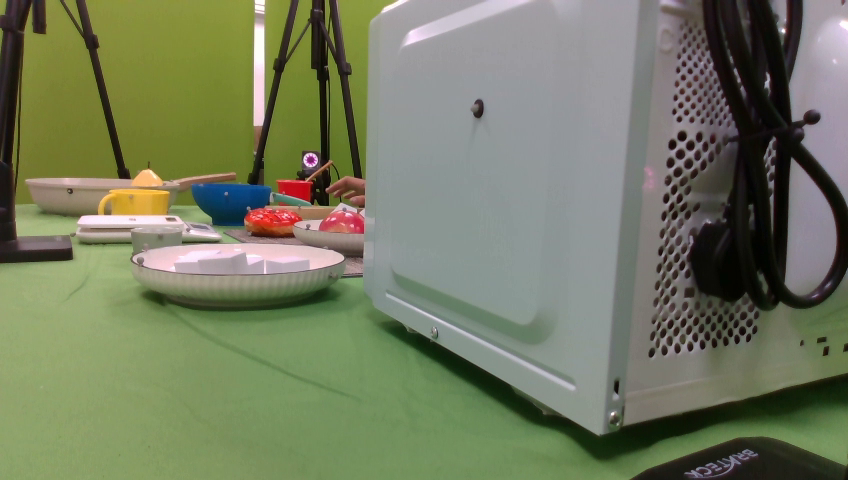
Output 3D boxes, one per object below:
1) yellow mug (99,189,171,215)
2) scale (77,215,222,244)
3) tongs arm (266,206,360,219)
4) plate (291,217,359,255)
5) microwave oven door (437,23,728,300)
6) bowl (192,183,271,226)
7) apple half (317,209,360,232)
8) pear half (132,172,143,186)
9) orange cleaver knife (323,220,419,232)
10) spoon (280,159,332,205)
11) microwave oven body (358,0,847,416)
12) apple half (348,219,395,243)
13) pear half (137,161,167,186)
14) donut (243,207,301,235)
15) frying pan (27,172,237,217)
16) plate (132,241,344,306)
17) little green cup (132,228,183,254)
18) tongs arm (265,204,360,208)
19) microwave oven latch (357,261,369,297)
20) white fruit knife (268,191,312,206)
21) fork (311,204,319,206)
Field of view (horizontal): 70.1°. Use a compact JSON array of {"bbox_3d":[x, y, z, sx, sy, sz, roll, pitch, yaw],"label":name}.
[{"bbox_3d":[-0.518,-0.055,1.080,0.099,0.064,0.131,7,9,26],"label":"yellow mug"},{"bbox_3d":[-0.434,-0.019,0.963,0.202,0.031,0.148,-1,9,-27],"label":"scale"},{"bbox_3d":[-0.174,-0.061,1.363,0.387,0.026,0.050,-1,3,-31],"label":"tongs arm"},{"bbox_3d":[-0.098,-0.007,0.928,0.209,0.038,0.209,2,8,0],"label":"plate"},{"bbox_3d":[0.180,-0.072,0.621,0.358,0.243,0.039,-2,9,-29],"label":"microwave oven door"},{"bbox_3d":[-0.382,-0.071,1.202,0.151,0.077,0.151,3,7,0],"label":"bowl"},{"bbox_3d":[-0.122,-0.020,0.900,0.080,0.053,0.075,3,10,14],"label":"apple half"},{"bbox_3d":[-0.638,-0.113,1.361,0.031,0.088,0.070,5,10,4],"label":"pear half"},{"bbox_3d":[-0.097,-0.027,1.152,0.077,0.012,0.212,2,7,41],"label":"orange cleaver knife"},{"bbox_3d":[-0.316,-0.159,1.640,0.194,0.022,0.041,-50,32,-20],"label":"spoon"},{"bbox_3d":[0.211,-0.047,0.475,0.444,0.260,0.324,-1,7,-28],"label":"microwave oven body"},{"bbox_3d":[-0.083,-0.018,0.967,0.081,0.033,0.081,5,11,-1],"label":"apple half"},{"bbox_3d":[-0.602,-0.120,1.354,0.056,0.110,0.076,4,11,6],"label":"pear half"},{"bbox_3d":[-0.261,-0.032,1.043,0.099,0.048,0.099,4,9,0],"label":"donut"},{"bbox_3d":[-0.624,-0.118,1.387,0.305,0.102,0.490,8,17,32],"label":"frying pan"},{"bbox_3d":[-0.187,0.033,0.625,0.208,0.039,0.207,2,8,0],"label":"plate"},{"bbox_3d":[-0.342,0.006,0.779,0.061,0.038,0.061,2,8,0],"label":"little green cup"},{"bbox_3d":[-0.210,-0.067,1.438,0.389,0.027,0.028,1,-1,-17],"label":"tongs arm"},{"bbox_3d":[-0.019,0.033,0.531,0.079,0.029,0.030,-1,7,-27],"label":"microwave oven latch"},{"bbox_3d":[-0.364,-0.105,1.464,0.208,0.027,0.016,15,0,-34],"label":"white fruit knife"},{"bbox_3d":[-0.356,-0.105,1.526,0.208,0.018,0.028,16,-6,-41],"label":"fork"}]
